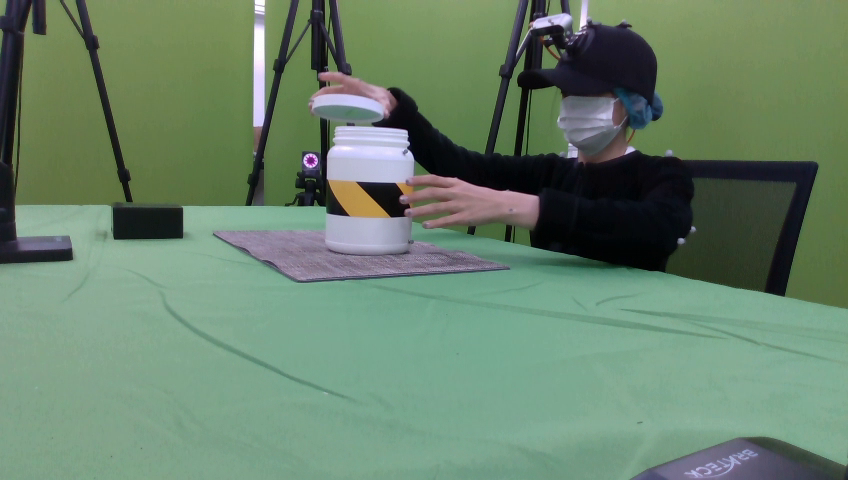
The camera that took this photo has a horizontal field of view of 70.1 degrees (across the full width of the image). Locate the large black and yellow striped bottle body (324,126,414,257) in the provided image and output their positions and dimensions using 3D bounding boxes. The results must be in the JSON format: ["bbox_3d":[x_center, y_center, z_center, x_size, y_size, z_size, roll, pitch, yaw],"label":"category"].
[{"bbox_3d":[-0.082,-0.074,0.904,0.131,0.184,0.130,3,7,0],"label":"large black and yellow striped bottle body"}]

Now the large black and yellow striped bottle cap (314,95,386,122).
[{"bbox_3d":[-0.118,-0.210,0.968,0.115,0.019,0.115,3,-2,0],"label":"large black and yellow striped bottle cap"}]
